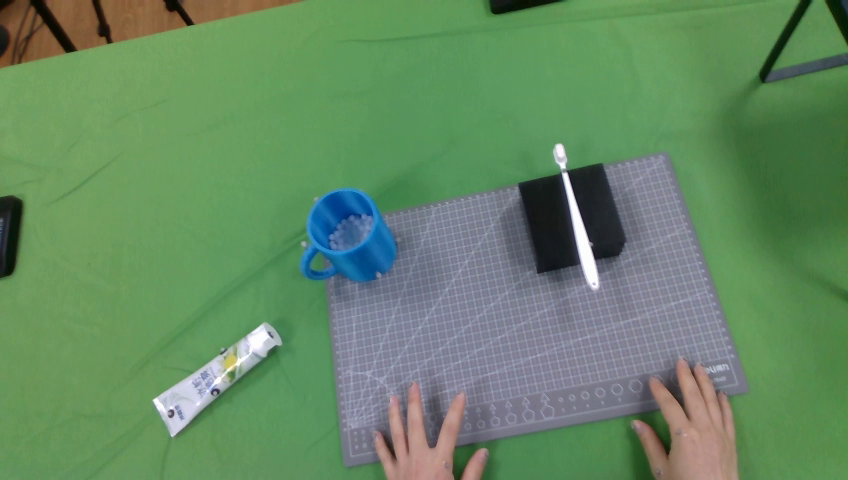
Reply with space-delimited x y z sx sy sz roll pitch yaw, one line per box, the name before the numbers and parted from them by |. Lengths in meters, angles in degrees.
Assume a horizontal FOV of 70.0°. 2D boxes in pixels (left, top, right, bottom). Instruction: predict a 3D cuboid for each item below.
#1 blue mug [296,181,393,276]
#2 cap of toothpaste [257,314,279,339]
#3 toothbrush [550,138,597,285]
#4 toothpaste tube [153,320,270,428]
blue mug | -0.099 -0.001 0.718 0.116 0.106 0.081 -38 69 -5
cap of toothpaste | -0.190 0.107 0.733 0.011 0.037 0.037 -38 69 -1
toothbrush | 0.169 -0.036 0.684 0.014 0.017 0.180 -9 70 -1
toothpaste tube | -0.253 0.154 0.733 0.165 0.035 0.054 -38 65 -2
